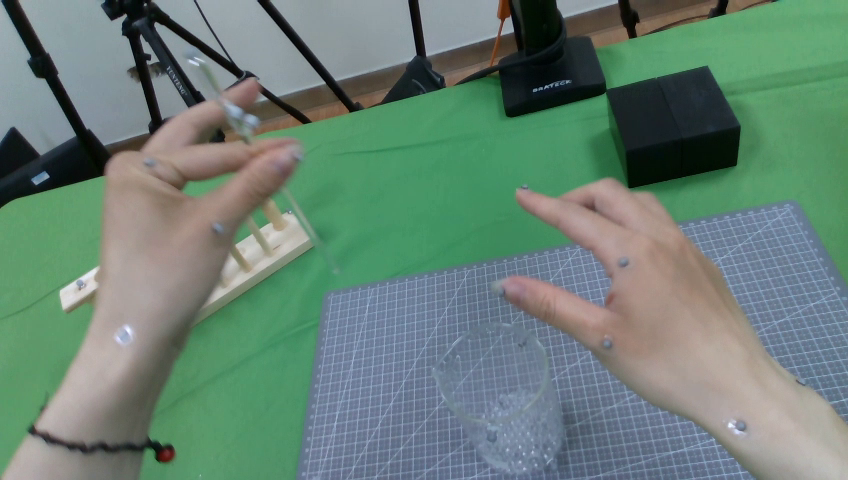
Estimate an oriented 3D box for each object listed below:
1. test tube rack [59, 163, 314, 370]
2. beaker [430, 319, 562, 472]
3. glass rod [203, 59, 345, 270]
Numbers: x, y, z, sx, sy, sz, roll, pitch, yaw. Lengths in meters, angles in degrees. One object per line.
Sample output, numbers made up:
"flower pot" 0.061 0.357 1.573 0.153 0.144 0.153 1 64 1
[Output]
"test tube rack" -0.249 0.026 0.651 0.242 0.086 0.066 -35 46 -11
"beaker" 0.055 0.115 0.433 0.083 0.101 0.073 0 49 22
"glass rod" -0.078 -0.030 0.356 0.008 0.201 0.008 -5 59 9
